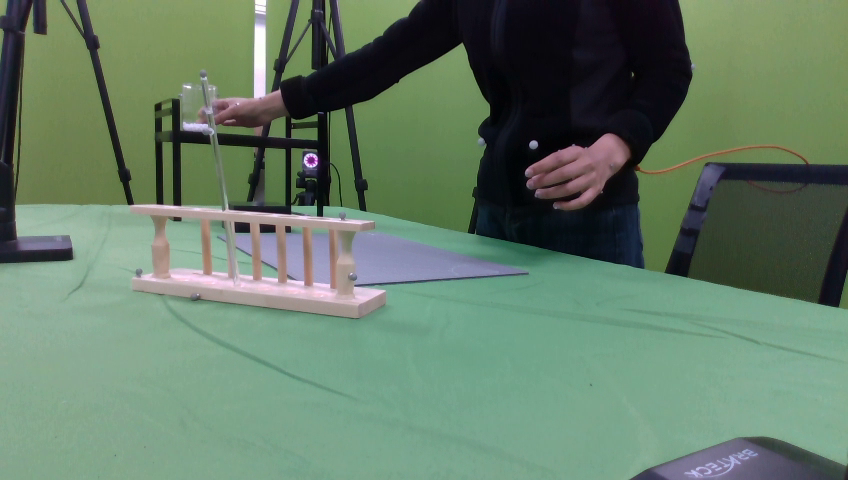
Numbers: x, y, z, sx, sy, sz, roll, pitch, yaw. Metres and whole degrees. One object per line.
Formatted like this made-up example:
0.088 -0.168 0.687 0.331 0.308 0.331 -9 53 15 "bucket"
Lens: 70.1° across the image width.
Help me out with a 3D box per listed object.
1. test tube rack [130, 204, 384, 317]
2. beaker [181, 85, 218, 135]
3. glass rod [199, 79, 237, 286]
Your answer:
-0.163 0.013 0.589 0.242 0.085 0.067 5 8 17 "test tube rack"
-0.476 -0.276 1.289 0.074 0.100 0.083 -4 10 -35 "beaker"
-0.194 -0.050 0.569 0.008 0.199 0.008 -6 7 1 "glass rod"
